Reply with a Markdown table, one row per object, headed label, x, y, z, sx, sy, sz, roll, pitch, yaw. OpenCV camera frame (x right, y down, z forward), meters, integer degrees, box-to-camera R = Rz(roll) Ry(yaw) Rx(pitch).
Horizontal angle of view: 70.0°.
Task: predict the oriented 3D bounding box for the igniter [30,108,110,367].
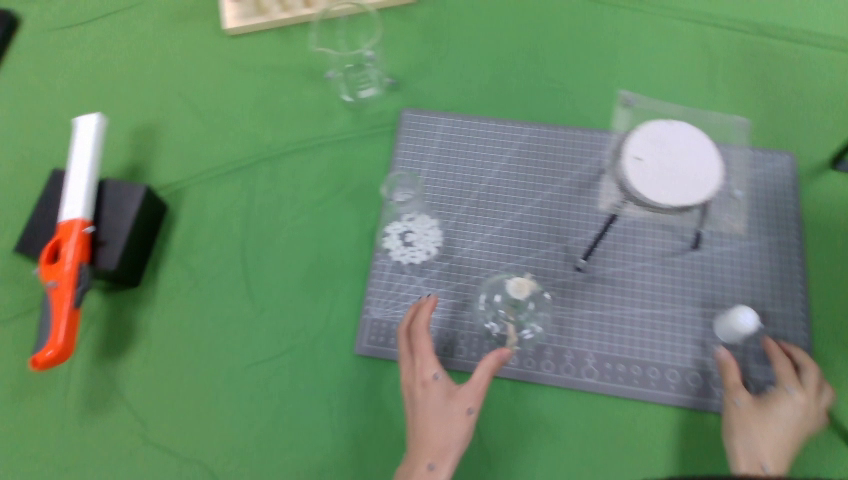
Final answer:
| label | x | y | z | sx | sy | sz | roll | pitch | yaw |
| --- | --- | --- | --- | --- | --- | --- | --- | --- | --- |
| igniter | -0.352 | -0.011 | 0.607 | 0.057 | 0.025 | 0.274 | -8 | 67 | 11 |

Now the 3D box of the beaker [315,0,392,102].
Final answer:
| label | x | y | z | sx | sy | sz | roll | pitch | yaw |
| --- | --- | --- | --- | --- | --- | --- | --- | --- | --- |
| beaker | -0.078 | -0.212 | 0.690 | 0.084 | 0.101 | 0.073 | -32 | 70 | -10 |

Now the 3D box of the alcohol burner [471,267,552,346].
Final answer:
| label | x | y | z | sx | sy | sz | roll | pitch | yaw |
| --- | --- | --- | --- | --- | --- | --- | --- | --- | --- |
| alcohol burner | 0.084 | 0.057 | 0.568 | 0.078 | 0.120 | 0.077 | 0 | 67 | 0 |

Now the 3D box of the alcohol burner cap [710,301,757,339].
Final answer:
| label | x | y | z | sx | sy | sz | roll | pitch | yaw |
| --- | --- | --- | --- | --- | --- | --- | --- | --- | --- |
| alcohol burner cap | 0.305 | 0.075 | 0.592 | 0.034 | 0.048 | 0.033 | -1 | 69 | 3 |

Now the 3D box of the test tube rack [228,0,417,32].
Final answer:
| label | x | y | z | sx | sy | sz | roll | pitch | yaw |
| --- | --- | --- | --- | --- | --- | --- | --- | --- | --- |
| test tube rack | -0.131 | -0.332 | 0.748 | 0.242 | 0.086 | 0.066 | -11 | 68 | -3 |

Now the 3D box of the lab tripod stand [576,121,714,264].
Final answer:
| label | x | y | z | sx | sy | sz | roll | pitch | yaw |
| --- | --- | --- | --- | --- | --- | --- | --- | --- | --- |
| lab tripod stand | 0.217 | -0.043 | 0.592 | 0.148 | 0.132 | 0.147 | 0 | 67 | 0 |

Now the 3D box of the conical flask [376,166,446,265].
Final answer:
| label | x | y | z | sx | sy | sz | roll | pitch | yaw |
| --- | --- | --- | --- | --- | --- | --- | --- | --- | --- |
| conical flask | -0.016 | -0.029 | 0.600 | 0.075 | 0.123 | 0.075 | -1 | 67 | 2 |

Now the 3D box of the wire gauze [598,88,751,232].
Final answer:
| label | x | y | z | sx | sy | sz | roll | pitch | yaw |
| --- | --- | --- | --- | --- | --- | --- | --- | --- | --- |
| wire gauze | 0.223 | -0.072 | 0.530 | 0.121 | 0.011 | 0.124 | 14 | 70 | 6 |
